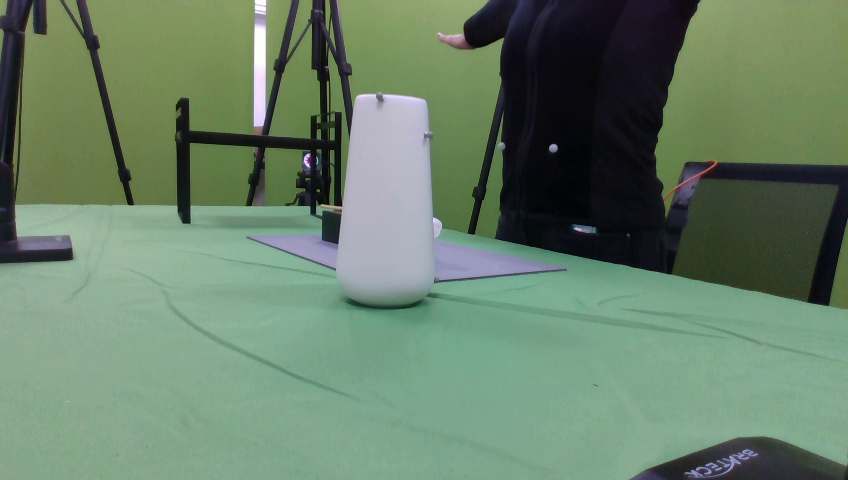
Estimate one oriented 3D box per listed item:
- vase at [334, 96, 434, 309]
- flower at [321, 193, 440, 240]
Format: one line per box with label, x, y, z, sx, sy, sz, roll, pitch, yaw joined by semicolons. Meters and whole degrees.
vase;-0.038;-0.036;0.590;0.098;0.200;0.098;1;8;0
flower;-0.088;-0.046;0.945;0.044;0.038;0.360;-37;29;-20
